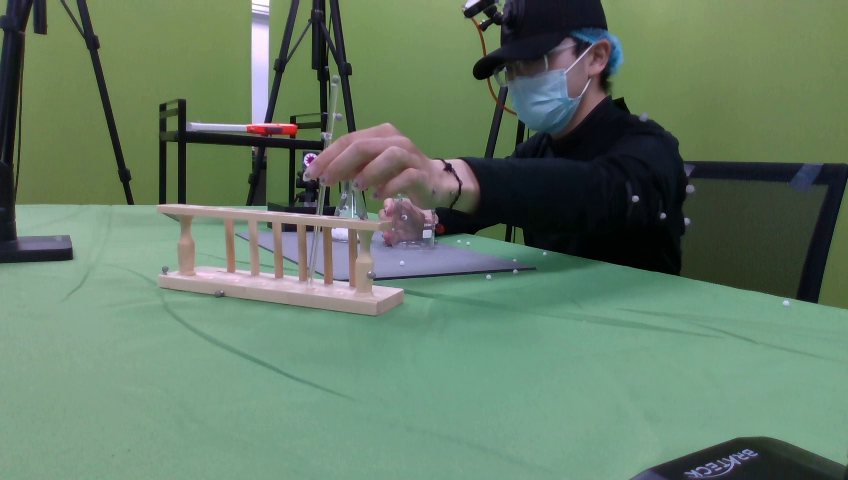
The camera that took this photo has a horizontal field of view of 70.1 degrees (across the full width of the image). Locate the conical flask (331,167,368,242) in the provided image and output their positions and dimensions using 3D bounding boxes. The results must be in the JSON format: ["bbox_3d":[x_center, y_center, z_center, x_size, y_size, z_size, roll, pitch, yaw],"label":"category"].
[{"bbox_3d":[-0.123,-0.061,1.018,0.075,0.122,0.075,2,7,0],"label":"conical flask"}]

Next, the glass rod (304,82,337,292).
[{"bbox_3d":[-0.097,-0.048,0.568,0.008,0.199,0.008,8,5,0],"label":"glass rod"}]

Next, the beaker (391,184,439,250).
[{"bbox_3d":[-0.018,-0.037,0.961,0.073,0.100,0.084,7,9,34],"label":"beaker"}]

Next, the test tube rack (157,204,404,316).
[{"bbox_3d":[-0.143,0.013,0.598,0.242,0.085,0.067,5,8,19],"label":"test tube rack"}]

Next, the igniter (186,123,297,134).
[{"bbox_3d":[-0.392,-0.247,1.340,0.057,0.025,0.278,9,14,38],"label":"igniter"}]
